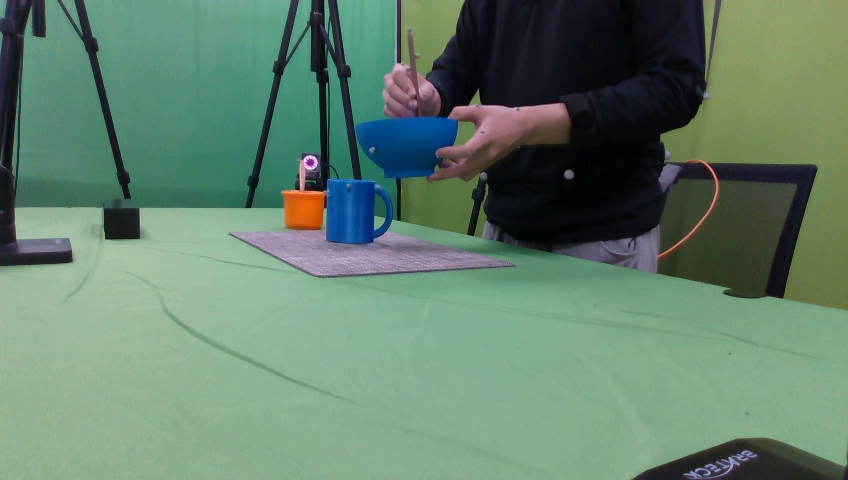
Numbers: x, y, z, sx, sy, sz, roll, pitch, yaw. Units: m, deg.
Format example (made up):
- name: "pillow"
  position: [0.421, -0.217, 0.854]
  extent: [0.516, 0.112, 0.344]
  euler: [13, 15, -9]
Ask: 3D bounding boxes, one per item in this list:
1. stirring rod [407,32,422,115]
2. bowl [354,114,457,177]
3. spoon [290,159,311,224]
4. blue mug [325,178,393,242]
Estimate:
- name: "stirring rod"
  position: [-0.010, -0.204, 0.853]
  extent: [0.006, 0.176, 0.014]
  euler: [-9, 7, -21]
- name: "bowl"
  position: [-0.025, -0.133, 0.878]
  extent: [0.151, 0.077, 0.151]
  euler: [-3, 4, 1]
- name: "spoon"
  position: [-0.256, -0.104, 1.265]
  extent: [0.042, 0.193, 0.021]
  euler: [1, -37, -9]
- name: "blue mug"
  position: [-0.111, -0.052, 1.034]
  extent: [0.116, 0.106, 0.082]
  euler: [3, 7, 7]
